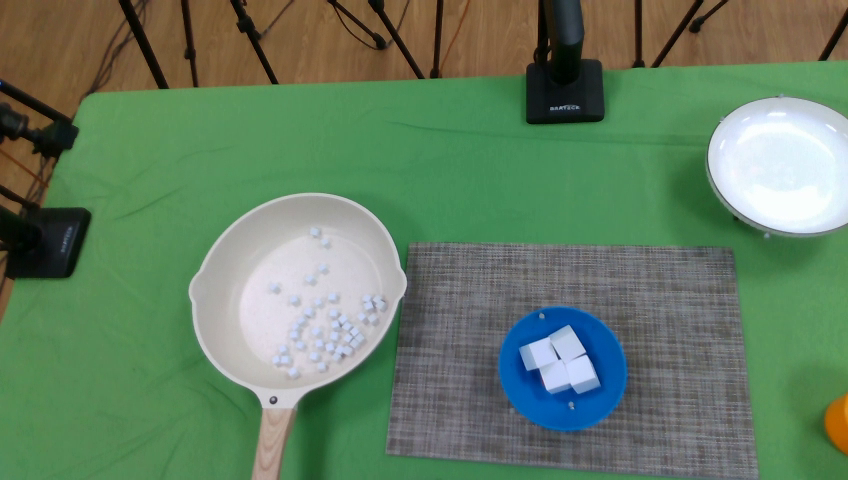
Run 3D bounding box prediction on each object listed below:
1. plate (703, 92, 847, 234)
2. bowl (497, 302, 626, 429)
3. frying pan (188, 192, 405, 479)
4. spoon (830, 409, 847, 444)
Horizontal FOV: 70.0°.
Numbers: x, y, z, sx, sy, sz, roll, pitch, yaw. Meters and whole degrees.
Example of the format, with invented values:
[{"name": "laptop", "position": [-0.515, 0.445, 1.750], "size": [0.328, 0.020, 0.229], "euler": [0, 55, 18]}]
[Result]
[{"name": "plate", "position": [0.476, -0.099, 0.799], "size": [0.207, 0.039, 0.206], "euler": [-3, 67, 8]}, {"name": "bowl", "position": [0.168, 0.163, 0.754], "size": [0.151, 0.077, 0.150], "euler": [-3, 65, 8]}, {"name": "frying pan", "position": [-0.181, 0.160, 0.798], "size": [0.306, 0.104, 0.483], "euler": [-1, 57, 9]}, {"name": "spoon", "position": [0.544, 0.186, 0.652], "size": [0.022, 0.194, 0.041], "euler": [10, 59, -35]}]
